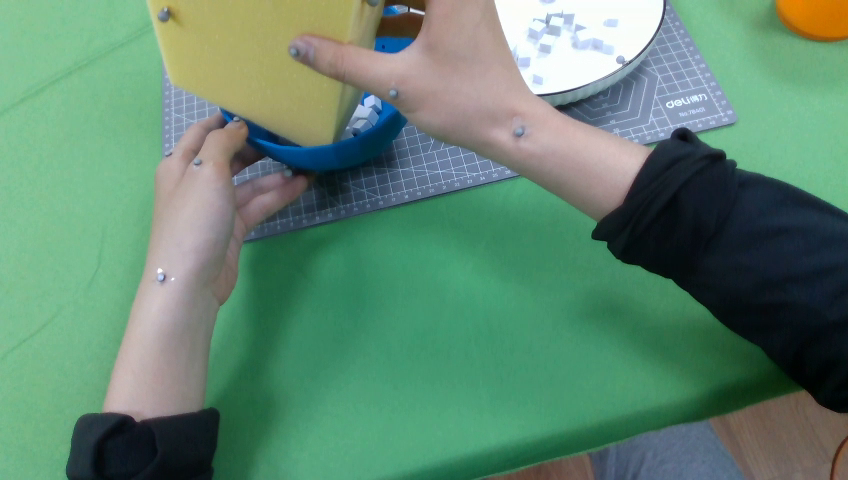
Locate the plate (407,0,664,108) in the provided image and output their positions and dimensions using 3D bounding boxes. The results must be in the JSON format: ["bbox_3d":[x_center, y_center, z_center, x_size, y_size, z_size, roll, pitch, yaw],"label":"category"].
[{"bbox_3d":[0.090,-0.190,0.510,0.209,0.038,0.207,-3,63,6],"label":"plate"}]

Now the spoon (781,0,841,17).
[{"bbox_3d":[0.359,-0.238,0.442,0.022,0.194,0.041,5,57,-42],"label":"spoon"}]

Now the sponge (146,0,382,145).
[{"bbox_3d":[-0.085,-0.141,0.329,0.118,0.207,0.060,24,65,-5],"label":"sponge"}]

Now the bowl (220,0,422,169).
[{"bbox_3d":[-0.072,-0.107,0.463,0.151,0.077,0.150,-3,62,5],"label":"bowl"}]
